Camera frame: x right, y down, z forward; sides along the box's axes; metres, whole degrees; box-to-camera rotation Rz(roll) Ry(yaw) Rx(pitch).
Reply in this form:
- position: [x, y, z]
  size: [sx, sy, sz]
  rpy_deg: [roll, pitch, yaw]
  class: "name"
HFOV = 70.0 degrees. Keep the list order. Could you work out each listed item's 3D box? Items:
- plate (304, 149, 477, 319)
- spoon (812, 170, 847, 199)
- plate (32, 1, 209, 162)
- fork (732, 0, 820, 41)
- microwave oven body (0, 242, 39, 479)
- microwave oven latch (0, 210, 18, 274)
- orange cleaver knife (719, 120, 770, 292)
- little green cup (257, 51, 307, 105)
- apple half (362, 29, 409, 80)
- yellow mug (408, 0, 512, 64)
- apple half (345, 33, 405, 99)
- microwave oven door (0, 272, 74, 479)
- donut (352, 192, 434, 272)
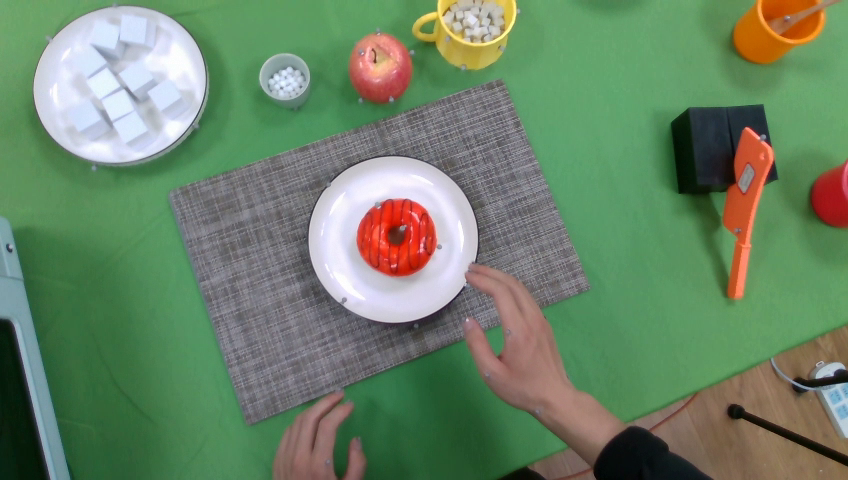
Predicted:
- position: [-0.040, -0.007, 0.742]
  size: [0.209, 0.038, 0.208]
  rpy_deg: [1, 81, -3]
  class: "plate"
- position: [0.586, -0.058, 0.741]
  size: [0.192, 0.022, 0.041]
  rpy_deg: [16, 71, 44]
  class: "spoon"
- position: [-0.371, -0.193, 0.754]
  size: [0.208, 0.039, 0.207]
  rpy_deg: [1, 81, -4]
  class: "plate"
- position: [0.505, -0.308, 0.773]
  size: [0.207, 0.019, 0.028]
  rpy_deg: [-19, 77, 38]
  class: "fork"
- position: [-0.572, 0.197, 0.561]
  size: [0.326, 0.260, 0.440]
  rpy_deg: [-18, 83, -7]
  class: "microwave oven body"
- position: [-0.494, 0.003, 0.696]
  size: [0.030, 0.029, 0.079]
  rpy_deg: [-16, 83, -7]
  class: "microwave oven latch"
- position: [0.389, -0.039, 0.753]
  size: [0.012, 0.076, 0.212]
  rpy_deg: [-2, 113, -2]
  class: "orange cleaver knife"
- position: [-0.177, -0.203, 0.769]
  size: [0.061, 0.039, 0.061]
  rpy_deg: [1, 81, -3]
  class: "little green cup"
- position: [-0.042, -0.238, 0.765]
  size: [0.081, 0.081, 0.033]
  rpy_deg: [42, 85, 4]
  class: "apple half"
- position: [0.043, -0.285, 0.782]
  size: [0.131, 0.064, 0.099]
  rpy_deg: [-10, 81, -5]
  class: "yellow mug"
- position: [-0.069, -0.209, 0.760]
  size: [0.081, 0.074, 0.053]
  rpy_deg: [43, 85, 0]
  class: "apple half"
- position: [-0.420, 0.191, 0.567]
  size: [0.039, 0.244, 0.354]
  rpy_deg: [-18, 82, -6]
  class: "microwave oven door"
- position: [-0.037, -0.009, 0.731]
  size: [0.099, 0.048, 0.098]
  rpy_deg: [0, 83, -3]
  class: "donut"
